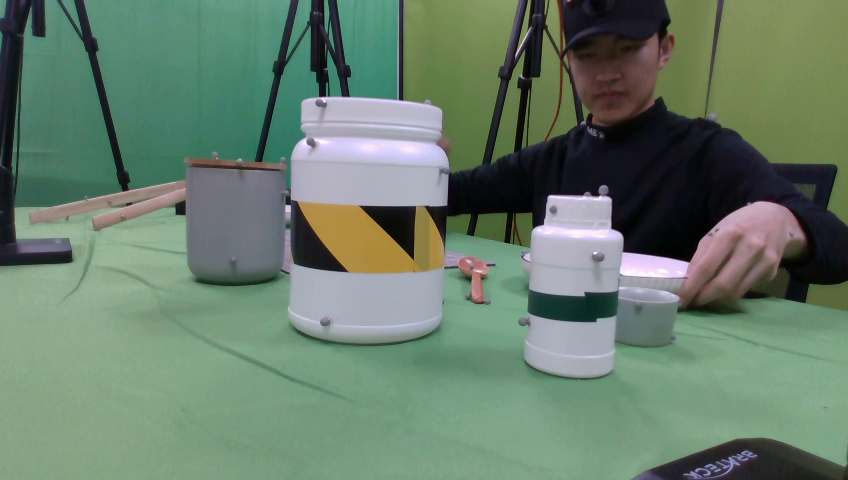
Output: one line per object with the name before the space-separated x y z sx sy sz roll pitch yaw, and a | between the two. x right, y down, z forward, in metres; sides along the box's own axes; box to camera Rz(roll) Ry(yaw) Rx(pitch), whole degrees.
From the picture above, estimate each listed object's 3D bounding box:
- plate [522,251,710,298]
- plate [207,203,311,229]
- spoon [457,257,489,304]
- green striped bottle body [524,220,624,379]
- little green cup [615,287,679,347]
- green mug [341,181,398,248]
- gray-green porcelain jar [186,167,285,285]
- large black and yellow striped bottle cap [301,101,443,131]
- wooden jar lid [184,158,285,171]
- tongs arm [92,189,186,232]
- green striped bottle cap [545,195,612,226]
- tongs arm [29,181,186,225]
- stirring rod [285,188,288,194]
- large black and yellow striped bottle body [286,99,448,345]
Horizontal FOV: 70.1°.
plate | 0.218 0.041 0.705 0.209 0.038 0.209 2 7 0
plate | -0.342 -0.050 1.259 0.208 0.039 0.207 2 7 0
spoon | 0.059 0.043 0.696 0.041 0.021 0.194 18 7 1
green striped bottle body | 0.104 0.031 0.422 0.063 0.119 0.063 2 8 0
little green cup | 0.180 0.064 0.506 0.061 0.038 0.061 2 8 0
green mug | -0.089 -0.044 0.997 0.093 0.105 0.125 1 7 -8
gray-green porcelain jar | -0.212 -0.017 0.682 0.106 0.126 0.106 2 7 0
large black and yellow striped bottle cap | -0.042 -0.100 0.491 0.115 0.019 0.115 1 8 0
wooden jar lid | -0.210 -0.078 0.674 0.108 0.020 0.108 5 6 0
tongs arm | -0.534 -0.076 1.221 0.028 0.028 0.388 -2 15 12
green striped bottle cap | 0.106 -0.020 0.414 0.044 0.020 0.044 2 4 0
tongs arm | -0.609 -0.083 1.245 0.050 0.026 0.386 5 16 23
stirring rod | -0.354 -0.122 1.518 0.006 0.014 0.176 2 6 1
large black and yellow striped bottle body | -0.047 -0.018 0.501 0.131 0.184 0.130 2 7 0
